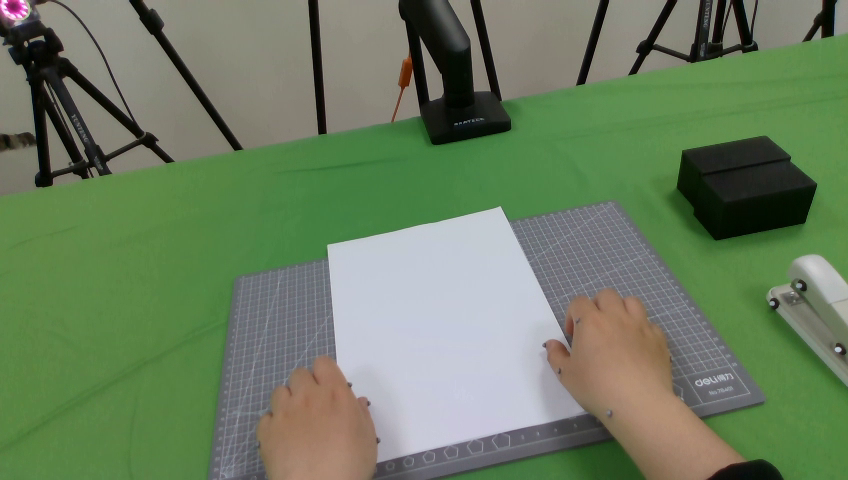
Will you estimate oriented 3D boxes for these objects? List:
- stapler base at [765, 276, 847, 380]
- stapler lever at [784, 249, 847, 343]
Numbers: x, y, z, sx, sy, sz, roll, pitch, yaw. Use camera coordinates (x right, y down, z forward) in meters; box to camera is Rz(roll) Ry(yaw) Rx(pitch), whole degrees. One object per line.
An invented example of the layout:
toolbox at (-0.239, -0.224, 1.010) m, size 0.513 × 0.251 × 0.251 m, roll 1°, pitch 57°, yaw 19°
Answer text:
stapler base at (0.348, 0.071, 0.518) m, size 0.041 × 0.025 × 0.129 m, roll -15°, pitch 41°, yaw -3°
stapler lever at (0.346, 0.053, 0.501) m, size 0.027 × 0.040 × 0.116 m, roll -15°, pitch 40°, yaw -3°
